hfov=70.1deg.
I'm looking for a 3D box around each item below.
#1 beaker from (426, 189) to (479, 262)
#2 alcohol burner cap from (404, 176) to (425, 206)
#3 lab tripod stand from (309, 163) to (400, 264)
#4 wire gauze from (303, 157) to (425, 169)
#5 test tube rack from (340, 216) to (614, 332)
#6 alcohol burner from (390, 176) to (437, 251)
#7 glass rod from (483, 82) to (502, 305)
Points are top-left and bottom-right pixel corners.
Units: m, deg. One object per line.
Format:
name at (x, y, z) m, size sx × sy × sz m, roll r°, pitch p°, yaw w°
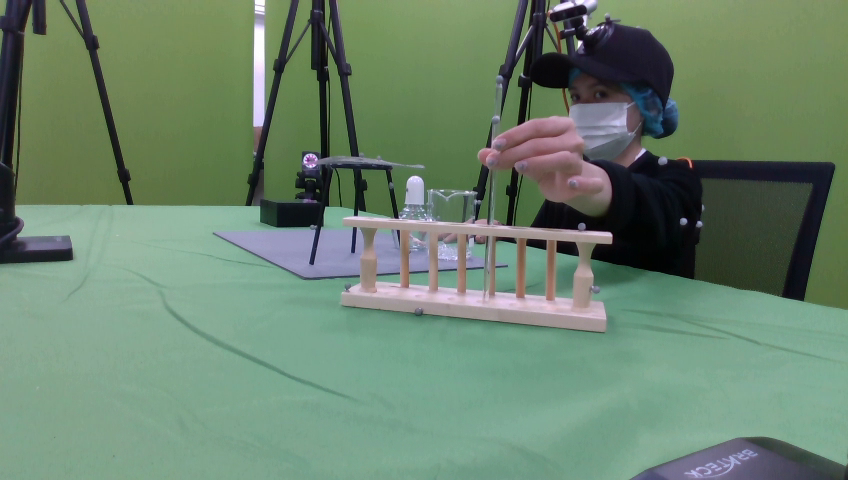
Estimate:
beaker at (0.039, -0.022, 0.871) m, size 0.074 × 0.100 × 0.084 m, roll 4°, pitch 8°, yaw 12°
alcohol burner cap at (-0.015, -0.077, 0.951) m, size 0.034 × 0.048 × 0.034 m, roll 2°, pitch 4°, yaw 0°
lab tripod stand at (-0.091, -0.037, 0.813) m, size 0.148 × 0.131 × 0.148 m, roll 1°, pitch 6°, yaw 0°
wire gauze at (-0.082, -0.102, 0.799) m, size 0.126 × 0.011 × 0.121 m, roll -1°, pitch 7°, yaw -30°
test tube rack at (0.048, 0.026, 0.568) m, size 0.242 × 0.085 × 0.067 m, roll 4°, pitch 8°, yaw 13°
alcohol burner at (-0.016, -0.042, 0.955) m, size 0.078 × 0.119 × 0.078 m, roll 4°, pitch 6°, yaw 0°
glass rod at (0.060, -0.036, 0.531) m, size 0.008 × 0.199 × 0.008 m, roll 1°, pitch 14°, yaw 0°
